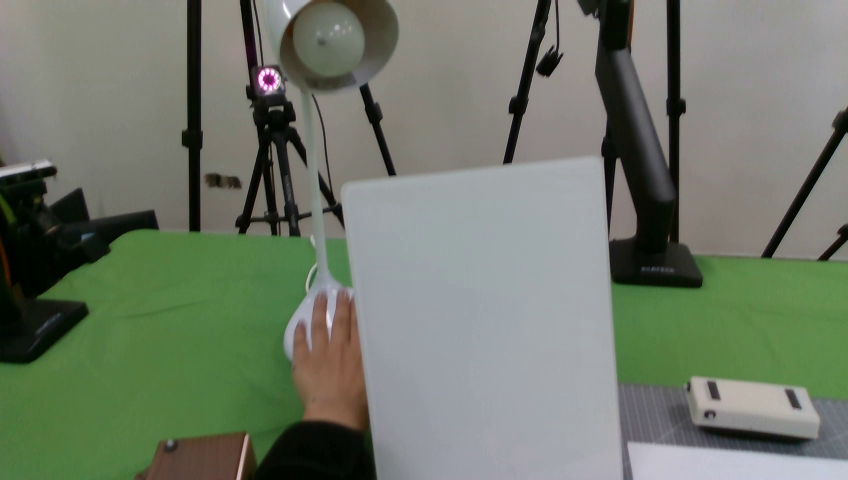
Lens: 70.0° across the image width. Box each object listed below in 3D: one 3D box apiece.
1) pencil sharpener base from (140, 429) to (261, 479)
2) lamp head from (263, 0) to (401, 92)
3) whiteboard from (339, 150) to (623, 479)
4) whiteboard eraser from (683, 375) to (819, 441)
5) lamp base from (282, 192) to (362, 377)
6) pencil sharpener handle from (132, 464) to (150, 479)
[{"bbox_3d":[-0.171,0.210,0.476,0.077,0.108,0.061,-5,28,-5],"label":"pencil sharpener base"},{"bbox_3d":[-0.095,-0.210,0.545,0.113,0.113,0.121,-16,55,-25],"label":"lamp head"},{"bbox_3d":[0.045,0.081,0.562,0.218,0.306,0.143,-7,9,-10],"label":"whiteboard"},{"bbox_3d":[0.320,0.167,0.600,0.112,0.042,0.055,5,29,12],"label":"whiteboard eraser"},{"bbox_3d":[-0.103,0.042,0.719,0.161,0.181,0.177,-22,31,-34],"label":"lamp base"},{"bbox_3d":[-0.222,0.205,0.461,0.031,0.068,0.036,-5,15,-5],"label":"pencil sharpener handle"}]
